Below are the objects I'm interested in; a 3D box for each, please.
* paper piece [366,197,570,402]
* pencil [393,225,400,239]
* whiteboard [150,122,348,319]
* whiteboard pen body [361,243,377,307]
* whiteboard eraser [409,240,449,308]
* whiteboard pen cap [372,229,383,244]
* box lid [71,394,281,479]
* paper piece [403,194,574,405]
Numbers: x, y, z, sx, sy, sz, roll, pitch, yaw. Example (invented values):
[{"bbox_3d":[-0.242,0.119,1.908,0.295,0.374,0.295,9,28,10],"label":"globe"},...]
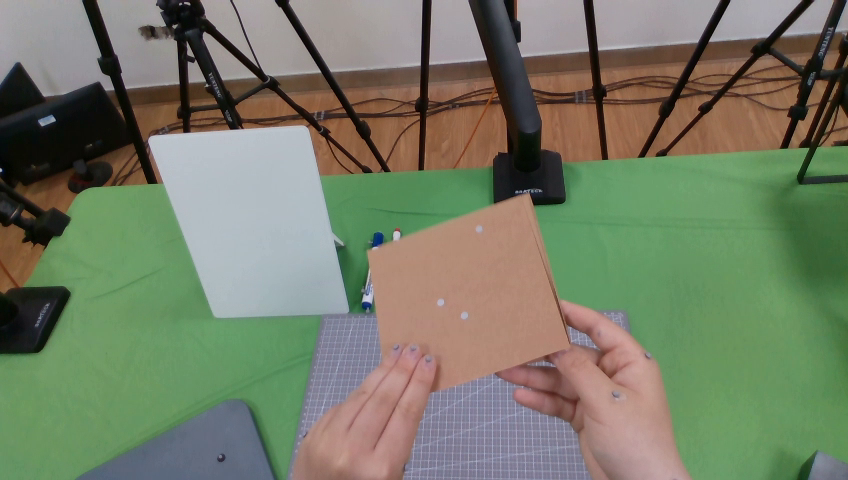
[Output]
[{"bbox_3d":[0.024,0.039,0.449,0.135,0.004,0.134,-19,53,11],"label":"paper piece"},{"bbox_3d":[-0.047,0.051,0.951,0.012,0.012,0.192,-4,51,7],"label":"pencil"},{"bbox_3d":[-0.229,-0.047,0.910,0.217,0.308,0.143,-2,32,8],"label":"whiteboard"},{"bbox_3d":[-0.082,0.044,0.958,0.017,0.017,0.139,-1,50,9],"label":"whiteboard pen body"},{"bbox_3d":[0.009,0.052,0.921,0.055,0.042,0.111,-3,51,9],"label":"whiteboard eraser"},{"bbox_3d":[-0.076,-0.002,0.993,0.018,0.018,0.033,-3,49,8],"label":"whiteboard pen cap"},{"bbox_3d":[-0.281,0.380,0.720,0.263,0.015,0.367,-27,52,-12],"label":"box lid"},{"bbox_3d":[0.034,0.044,0.465,0.136,0.009,0.137,-24,57,22],"label":"paper piece"}]
